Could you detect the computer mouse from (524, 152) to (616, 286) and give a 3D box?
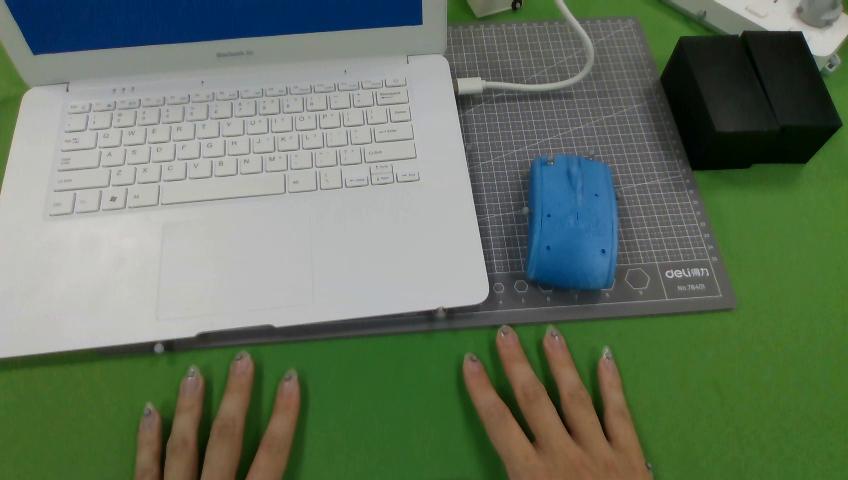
[{"bbox_3d":[0.108,-0.021,0.447,0.063,0.041,0.116,7,57,5],"label":"computer mouse"}]

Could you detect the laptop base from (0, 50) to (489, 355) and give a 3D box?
[{"bbox_3d":[-0.141,-0.041,0.466,0.355,0.023,0.233,-6,66,-4],"label":"laptop base"}]

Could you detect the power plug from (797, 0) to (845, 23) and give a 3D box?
[{"bbox_3d":[0.365,-0.217,0.538,0.072,0.053,0.035,-34,66,-16],"label":"power plug"}]

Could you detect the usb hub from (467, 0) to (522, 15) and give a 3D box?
[{"bbox_3d":[0.048,-0.274,0.591,0.049,0.025,0.124,-19,64,-11],"label":"usb hub"}]

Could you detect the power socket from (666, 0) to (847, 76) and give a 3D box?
[{"bbox_3d":[0.291,-0.232,0.570,0.225,0.033,0.072,40,67,18],"label":"power socket"}]

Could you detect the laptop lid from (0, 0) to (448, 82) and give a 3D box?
[{"bbox_3d":[-0.158,-0.224,0.430,0.357,0.244,0.013,-7,49,-3],"label":"laptop lid"}]
